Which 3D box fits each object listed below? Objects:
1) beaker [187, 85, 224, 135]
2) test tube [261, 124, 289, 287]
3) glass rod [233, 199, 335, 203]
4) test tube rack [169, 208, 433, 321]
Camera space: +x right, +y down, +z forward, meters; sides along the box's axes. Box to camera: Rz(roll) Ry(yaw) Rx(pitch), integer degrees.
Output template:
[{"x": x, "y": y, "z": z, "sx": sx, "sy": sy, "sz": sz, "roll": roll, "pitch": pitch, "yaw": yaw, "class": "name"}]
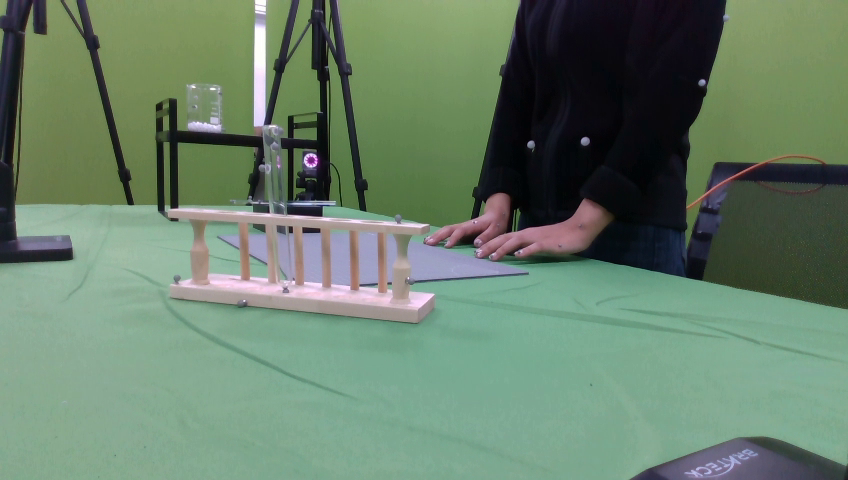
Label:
[{"x": -0.466, "y": -0.275, "z": 1.286, "sx": 0.074, "sy": 0.100, "sz": 0.084, "roll": 5, "pitch": 8, "yaw": 22, "class": "beaker"}, {"x": -0.137, "y": -0.030, "z": 0.557, "sx": 0.017, "sy": 0.150, "sz": 0.017, "roll": -3, "pitch": 6, "yaw": 1, "class": "test tube"}, {"x": -0.264, "y": -0.076, "z": 1.160, "sx": 0.201, "sy": 0.008, "sz": 0.008, "roll": -2, "pitch": 9, "yaw": -31, "class": "glass rod"}, {"x": -0.115, "y": 0.018, "z": 0.574, "sx": 0.242, "sy": 0.085, "sz": 0.067, "roll": 4, "pitch": 8, "yaw": 13, "class": "test tube rack"}]
